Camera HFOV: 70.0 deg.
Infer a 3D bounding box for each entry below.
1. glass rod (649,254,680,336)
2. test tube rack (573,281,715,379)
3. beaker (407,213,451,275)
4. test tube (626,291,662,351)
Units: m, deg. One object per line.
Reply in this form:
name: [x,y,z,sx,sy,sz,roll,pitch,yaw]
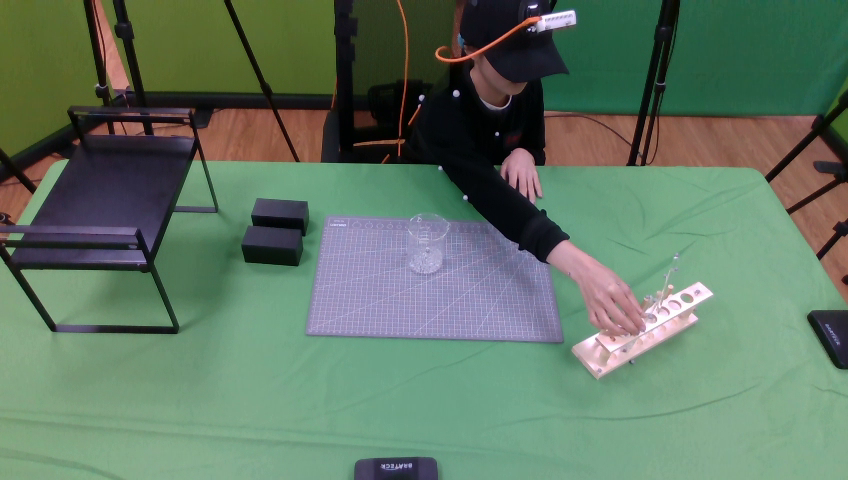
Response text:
glass rod: [0.392,0.094,0.991,0.008,0.201,0.008,-2,44,2]
test tube rack: [0.378,0.140,1.038,0.242,0.085,0.066,-22,51,-23]
beaker: [0.008,0.009,1.129,0.084,0.101,0.073,-11,48,-15]
test tube: [0.352,0.134,0.973,0.017,0.151,0.017,1,47,-1]
